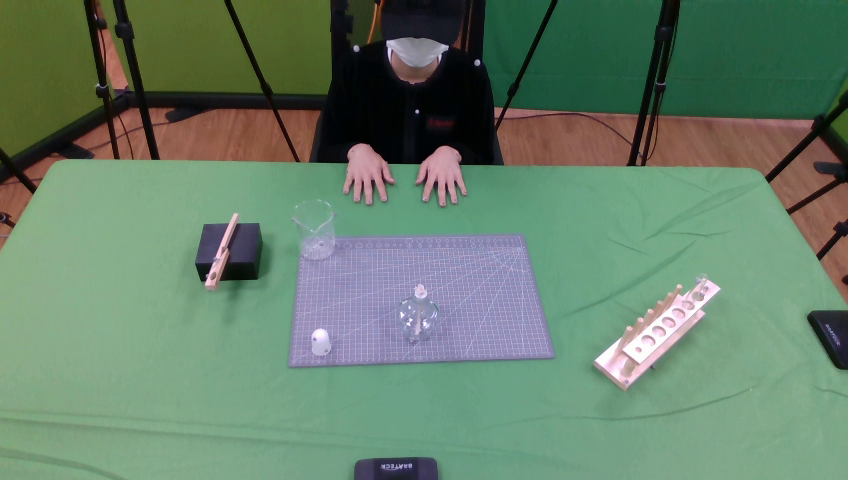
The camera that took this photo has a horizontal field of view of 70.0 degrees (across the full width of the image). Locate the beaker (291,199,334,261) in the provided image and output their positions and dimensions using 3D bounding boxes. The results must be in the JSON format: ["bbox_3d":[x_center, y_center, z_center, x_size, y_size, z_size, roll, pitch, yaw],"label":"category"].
[{"bbox_3d":[-0.206,-0.014,1.138,0.074,0.101,0.083,-7,48,-11],"label":"beaker"}]

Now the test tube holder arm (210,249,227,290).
[{"bbox_3d":[-0.359,0.050,1.059,0.010,0.015,0.087,8,45,-8],"label":"test tube holder arm"}]

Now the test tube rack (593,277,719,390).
[{"bbox_3d":[0.401,0.148,1.043,0.242,0.085,0.066,-30,55,-29],"label":"test tube rack"}]

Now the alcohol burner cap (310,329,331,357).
[{"bbox_3d":[-0.173,0.168,1.005,0.034,0.048,0.033,2,46,-2],"label":"alcohol burner cap"}]

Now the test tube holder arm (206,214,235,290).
[{"bbox_3d":[-0.364,0.017,1.090,0.013,0.015,0.177,7,45,-8],"label":"test tube holder arm"}]

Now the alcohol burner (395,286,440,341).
[{"bbox_3d":[-0.010,0.116,1.018,0.078,0.119,0.077,3,47,-3],"label":"alcohol burner"}]

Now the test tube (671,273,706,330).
[{"bbox_3d":[0.443,0.106,1.018,0.017,0.151,0.017,-1,49,1],"label":"test tube"}]
